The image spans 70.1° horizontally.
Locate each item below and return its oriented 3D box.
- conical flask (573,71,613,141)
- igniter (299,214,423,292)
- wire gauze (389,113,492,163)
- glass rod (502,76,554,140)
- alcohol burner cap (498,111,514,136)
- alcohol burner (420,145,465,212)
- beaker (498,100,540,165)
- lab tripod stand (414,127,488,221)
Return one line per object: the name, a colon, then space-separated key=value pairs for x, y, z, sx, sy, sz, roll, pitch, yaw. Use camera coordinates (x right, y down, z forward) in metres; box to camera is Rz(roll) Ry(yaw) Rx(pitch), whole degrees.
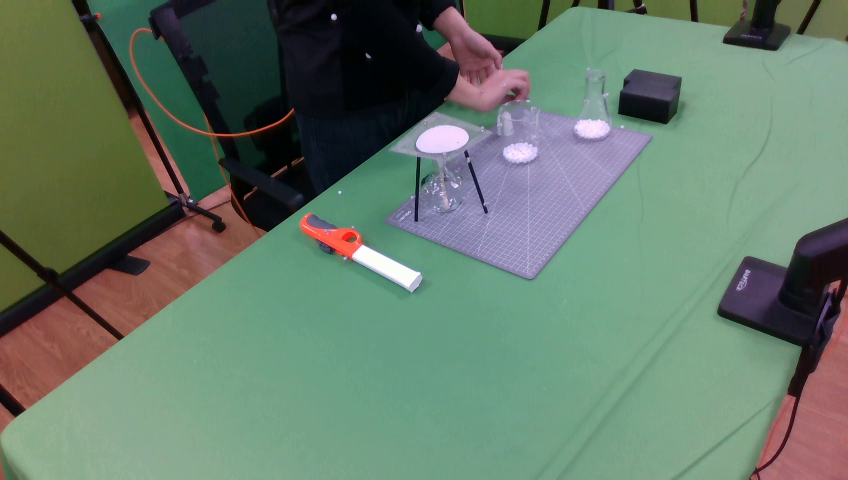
conical flask: x=0.321 y=-0.256 z=1.142 sx=0.075 sy=0.122 sz=0.075 roll=-5 pitch=40 yaw=5
igniter: x=-0.112 y=0.016 z=0.983 sx=0.274 sy=0.025 sz=0.057 roll=26 pitch=62 yaw=35
wire gauze: x=0.026 y=-0.164 z=0.977 sx=0.120 sy=0.011 sz=0.125 roll=24 pitch=49 yaw=35
glass rod: x=0.209 y=-0.270 z=1.226 sx=0.008 sy=0.008 sz=0.198 roll=-22 pitch=59 yaw=-14
alcohol burner cap: x=0.163 y=-0.235 z=1.211 sx=0.034 sy=0.048 sz=0.033 roll=-6 pitch=42 yaw=6
alcohol burner: x=0.030 y=-0.108 z=1.030 sx=0.078 sy=0.119 sz=0.077 roll=-5 pitch=38 yaw=4
beaker: x=0.180 y=-0.196 z=1.117 sx=0.074 sy=0.101 sz=0.083 roll=-25 pitch=43 yaw=-17
lab tripod stand: x=0.035 y=-0.114 z=1.021 sx=0.148 sy=0.132 sz=0.147 roll=-7 pitch=39 yaw=6
